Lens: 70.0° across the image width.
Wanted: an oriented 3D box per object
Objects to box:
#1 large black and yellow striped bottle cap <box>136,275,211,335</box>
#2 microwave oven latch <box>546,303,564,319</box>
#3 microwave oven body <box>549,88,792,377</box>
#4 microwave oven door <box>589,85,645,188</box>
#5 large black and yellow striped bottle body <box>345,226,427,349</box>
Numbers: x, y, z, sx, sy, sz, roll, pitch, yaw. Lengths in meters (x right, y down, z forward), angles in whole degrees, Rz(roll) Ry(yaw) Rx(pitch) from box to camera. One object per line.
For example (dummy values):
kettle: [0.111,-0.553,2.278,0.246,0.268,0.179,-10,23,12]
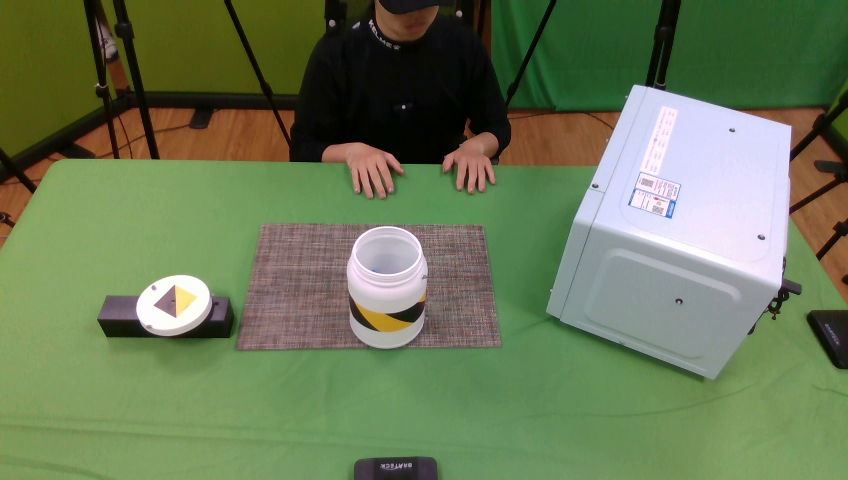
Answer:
large black and yellow striped bottle cap: [-0.412,0.105,0.999,0.115,0.019,0.114,3,46,-3]
microwave oven latch: [0.242,0.102,1.081,0.030,0.029,0.079,21,48,17]
microwave oven body: [0.456,-0.028,1.088,0.325,0.261,0.440,20,47,16]
microwave oven door: [0.342,-0.107,1.149,0.039,0.245,0.354,20,48,15]
large black and yellow striped bottle body: [-0.062,0.078,0.998,0.131,0.185,0.130,2,46,-2]
